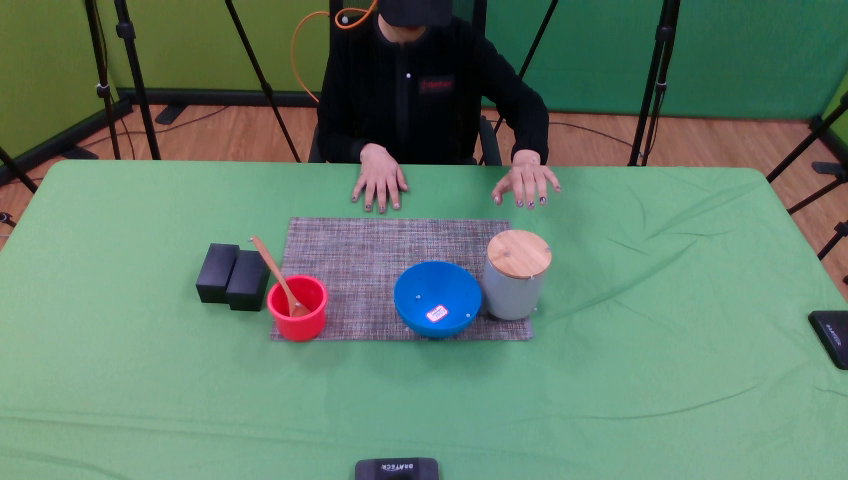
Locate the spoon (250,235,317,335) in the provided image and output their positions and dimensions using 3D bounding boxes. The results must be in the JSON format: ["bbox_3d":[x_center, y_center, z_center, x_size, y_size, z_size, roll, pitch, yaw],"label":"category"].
[{"bbox_3d":[-0.237,0.075,1.019,0.041,0.021,0.194,-32,100,-32],"label":"spoon"}]

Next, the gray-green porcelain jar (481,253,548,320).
[{"bbox_3d":[0.156,0.070,1.064,0.106,0.127,0.105,2,46,-2],"label":"gray-green porcelain jar"}]

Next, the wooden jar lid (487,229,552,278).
[{"bbox_3d":[0.160,0.026,1.018,0.108,0.021,0.107,2,47,-1],"label":"wooden jar lid"}]

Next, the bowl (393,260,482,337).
[{"bbox_3d":[0.021,0.115,1.045,0.151,0.077,0.150,2,46,-2],"label":"bowl"}]
